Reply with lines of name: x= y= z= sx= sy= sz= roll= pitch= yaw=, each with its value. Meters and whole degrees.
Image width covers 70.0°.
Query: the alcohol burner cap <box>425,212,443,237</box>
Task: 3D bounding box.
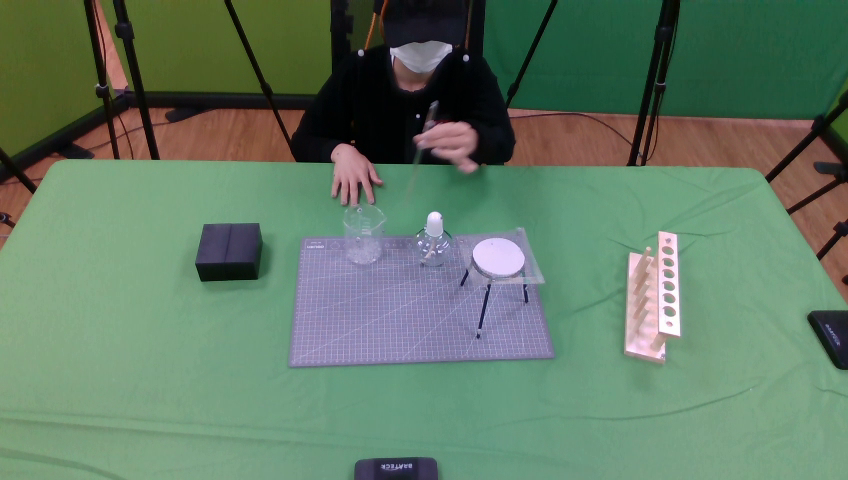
alcohol burner cap: x=0.019 y=-0.032 z=1.114 sx=0.034 sy=0.048 sz=0.033 roll=1 pitch=48 yaw=0

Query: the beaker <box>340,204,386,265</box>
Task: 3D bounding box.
beaker: x=-0.114 y=-0.008 z=1.140 sx=0.084 sy=0.101 sz=0.073 roll=-3 pitch=46 yaw=-8

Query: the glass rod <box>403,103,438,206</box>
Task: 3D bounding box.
glass rod: x=-0.007 y=-0.138 z=1.015 sx=0.008 sy=0.200 sz=0.008 roll=13 pitch=35 yaw=-9

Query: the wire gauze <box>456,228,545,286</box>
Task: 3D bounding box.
wire gauze: x=0.126 y=0.029 z=1.006 sx=0.125 sy=0.011 sz=0.120 roll=-4 pitch=46 yaw=-10

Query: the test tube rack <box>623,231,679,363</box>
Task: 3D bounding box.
test tube rack: x=0.410 y=0.094 z=1.096 sx=0.066 sy=0.085 sz=0.241 roll=13 pitch=46 yaw=9

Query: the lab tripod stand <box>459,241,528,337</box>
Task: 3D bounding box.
lab tripod stand: x=0.122 y=0.075 z=1.054 sx=0.148 sy=0.132 sz=0.147 roll=3 pitch=44 yaw=-3

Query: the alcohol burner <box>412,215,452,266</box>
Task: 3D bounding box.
alcohol burner: x=0.017 y=-0.006 z=1.139 sx=0.078 sy=0.119 sz=0.077 roll=2 pitch=48 yaw=-2
